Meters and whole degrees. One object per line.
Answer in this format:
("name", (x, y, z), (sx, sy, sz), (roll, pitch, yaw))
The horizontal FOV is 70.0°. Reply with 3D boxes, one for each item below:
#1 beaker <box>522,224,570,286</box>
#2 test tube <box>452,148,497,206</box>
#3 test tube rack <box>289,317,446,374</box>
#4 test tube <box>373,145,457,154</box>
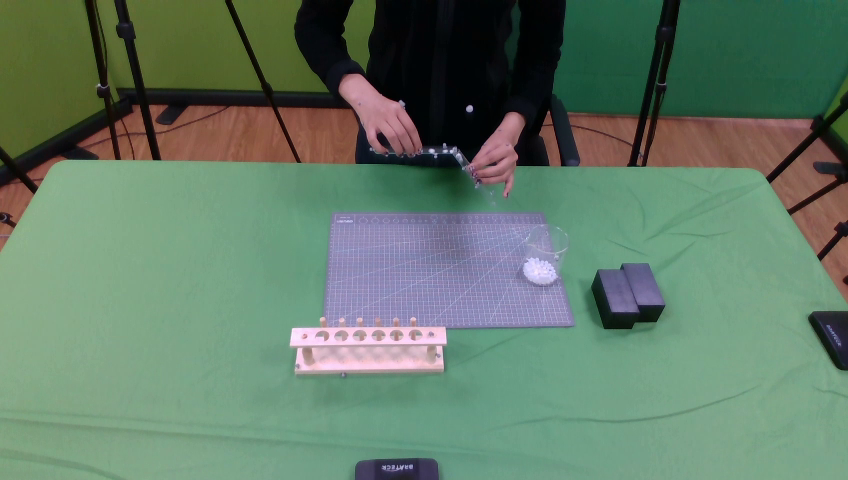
("beaker", (0.221, 0.032, 1.129), (0.084, 0.101, 0.073), (-6, 46, -9))
("test tube", (0.096, -0.115, 1.132), (0.017, 0.151, 0.017), (-25, 38, 22))
("test tube rack", (-0.089, 0.167, 0.988), (0.242, 0.085, 0.066), (0, 46, -4))
("test tube", (-0.016, -0.161, 1.076), (0.150, 0.017, 0.017), (-1, 46, -10))
